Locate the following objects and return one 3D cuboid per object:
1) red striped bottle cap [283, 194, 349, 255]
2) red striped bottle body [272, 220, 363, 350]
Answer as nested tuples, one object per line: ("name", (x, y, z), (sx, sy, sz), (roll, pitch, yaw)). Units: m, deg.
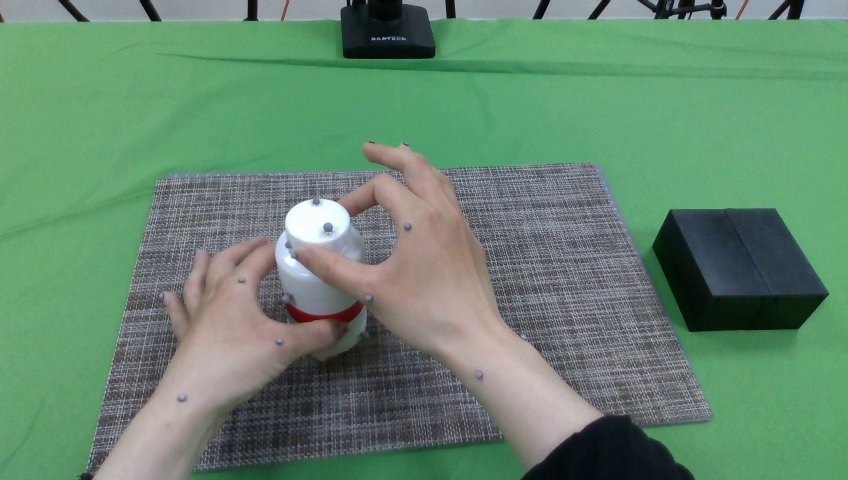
("red striped bottle cap", (-0.073, -0.011, 0.410), (0.044, 0.018, 0.044), (4, 46, -4))
("red striped bottle body", (-0.077, 0.025, 0.450), (0.063, 0.120, 0.062), (3, 47, -3))
